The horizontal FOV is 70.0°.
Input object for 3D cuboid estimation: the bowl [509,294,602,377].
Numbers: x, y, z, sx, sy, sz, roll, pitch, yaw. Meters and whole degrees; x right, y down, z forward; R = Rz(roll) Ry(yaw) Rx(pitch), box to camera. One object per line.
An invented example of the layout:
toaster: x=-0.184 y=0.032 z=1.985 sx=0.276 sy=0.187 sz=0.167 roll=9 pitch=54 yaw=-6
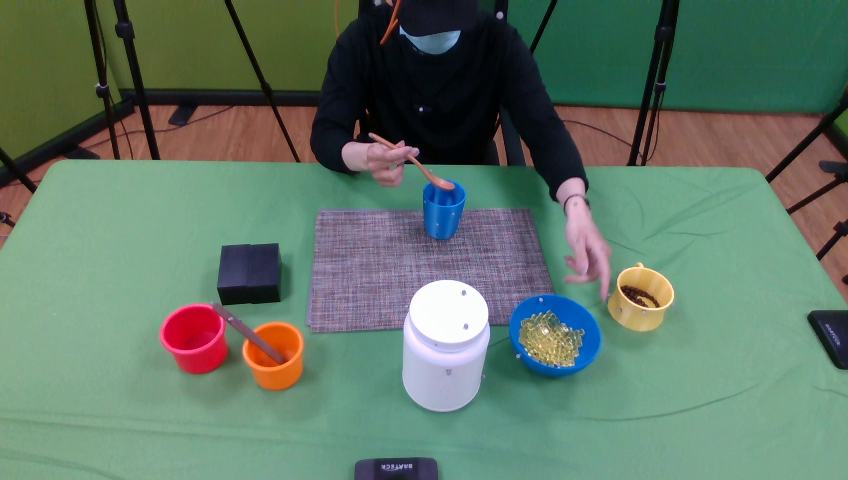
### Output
bowl: x=0.211 y=0.172 z=1.007 sx=0.151 sy=0.077 sz=0.150 roll=2 pitch=46 yaw=-2

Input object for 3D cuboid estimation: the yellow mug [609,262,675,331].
yellow mug: x=0.393 y=0.093 z=1.103 sx=0.100 sy=0.064 sz=0.130 roll=7 pitch=45 yaw=4

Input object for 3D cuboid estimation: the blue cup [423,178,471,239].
blue cup: x=0.036 y=-0.056 z=1.192 sx=0.093 sy=0.101 sz=0.092 roll=3 pitch=45 yaw=-3

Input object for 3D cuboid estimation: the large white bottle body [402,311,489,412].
large white bottle body: x=0.031 y=0.163 z=0.928 sx=0.131 sy=0.185 sz=0.130 roll=2 pitch=46 yaw=-2

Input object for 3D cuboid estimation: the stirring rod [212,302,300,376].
stirring rod: x=-0.261 y=0.156 z=0.948 sx=0.177 sy=0.006 sz=0.014 roll=45 pitch=45 yaw=-20

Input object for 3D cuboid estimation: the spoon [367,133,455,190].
spoon: x=-0.022 y=-0.145 z=1.117 sx=0.194 sy=0.021 sz=0.041 roll=34 pitch=23 yaw=-23

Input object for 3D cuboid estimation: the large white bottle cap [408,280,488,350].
large white bottle cap: x=0.034 y=0.105 z=0.867 sx=0.115 sy=0.018 sz=0.114 roll=2 pitch=46 yaw=-1
